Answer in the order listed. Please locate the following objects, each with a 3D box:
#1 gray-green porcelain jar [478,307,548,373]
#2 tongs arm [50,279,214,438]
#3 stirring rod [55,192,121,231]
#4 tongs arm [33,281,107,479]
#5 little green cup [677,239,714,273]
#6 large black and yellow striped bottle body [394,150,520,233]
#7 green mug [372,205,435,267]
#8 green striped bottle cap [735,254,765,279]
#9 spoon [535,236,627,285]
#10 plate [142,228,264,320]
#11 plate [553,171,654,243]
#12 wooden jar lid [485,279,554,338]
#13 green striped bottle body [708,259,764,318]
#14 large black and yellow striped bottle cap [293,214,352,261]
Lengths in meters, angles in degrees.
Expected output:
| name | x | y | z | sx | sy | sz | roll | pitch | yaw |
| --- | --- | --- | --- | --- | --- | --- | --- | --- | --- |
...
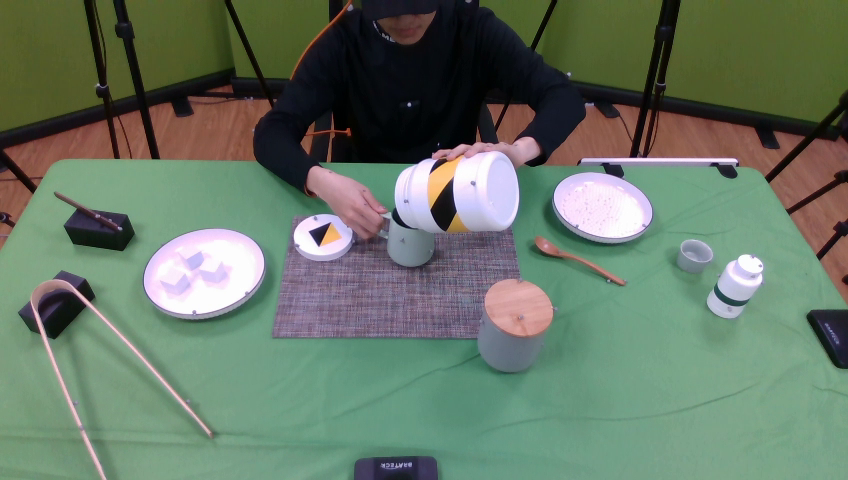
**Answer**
| name | x | y | z | sx | sy | sz | roll | pitch | yaw |
| --- | --- | --- | --- | --- | --- | --- | --- | --- | --- |
| gray-green porcelain jar | 0.144 | 0.148 | 0.989 | 0.106 | 0.127 | 0.105 | 2 | 50 | -2 |
| tongs arm | -0.459 | 0.178 | 0.949 | 0.386 | 0.028 | 0.028 | 37 | 60 | 17 |
| stirring rod | -0.632 | -0.055 | 1.138 | 0.175 | 0.014 | 0.006 | 24 | 50 | 19 |
| tongs arm | -0.517 | 0.214 | 0.910 | 0.051 | 0.026 | 0.383 | -28 | 63 | -27 |
| little green cup | 0.530 | 0.033 | 1.189 | 0.061 | 0.039 | 0.061 | 2 | 47 | -2 |
| large black and yellow striped bottle body | 0.054 | -0.078 | 1.023 | 0.183 | 0.131 | 0.130 | -2 | 38 | 35 |
| green mug | -0.040 | -0.015 | 1.146 | 0.125 | 0.105 | 0.092 | 16 | 48 | 12 |
| green striped bottle cap | 0.566 | 0.046 | 1.051 | 0.044 | 0.020 | 0.044 | 0 | 45 | 0 |
| spoon | 0.304 | 0.040 | 1.178 | 0.193 | 0.022 | 0.041 | 25 | 32 | 20 |
| plate | -0.394 | 0.064 | 1.095 | 0.208 | 0.039 | 0.206 | 2 | 46 | -2 |
| plate | 0.373 | -0.066 | 1.275 | 0.209 | 0.038 | 0.208 | 2 | 46 | -2 |
| wooden jar lid | 0.147 | 0.108 | 0.940 | 0.108 | 0.021 | 0.107 | 4 | 47 | -4 |
| green striped bottle body | 0.563 | 0.081 | 1.089 | 0.063 | 0.120 | 0.063 | 2 | 46 | -2 |
| large black and yellow striped bottle cap | -0.198 | -0.007 | 1.187 | 0.115 | 0.019 | 0.114 | 3 | 47 | -3 |
